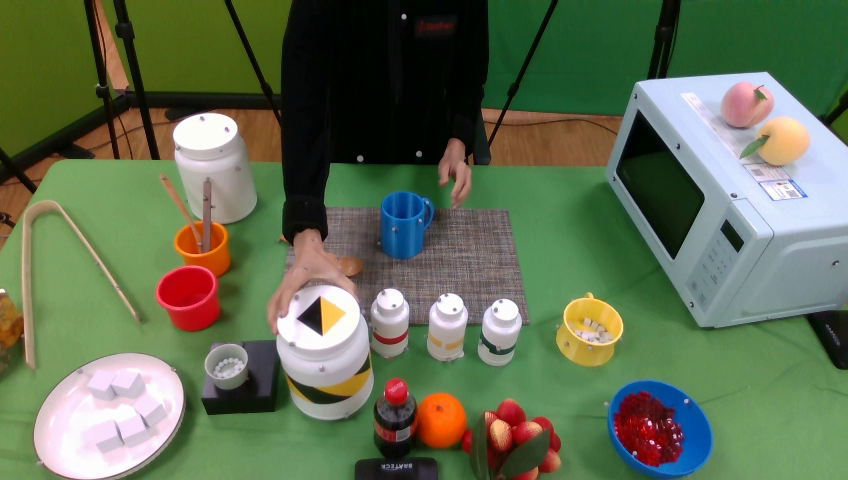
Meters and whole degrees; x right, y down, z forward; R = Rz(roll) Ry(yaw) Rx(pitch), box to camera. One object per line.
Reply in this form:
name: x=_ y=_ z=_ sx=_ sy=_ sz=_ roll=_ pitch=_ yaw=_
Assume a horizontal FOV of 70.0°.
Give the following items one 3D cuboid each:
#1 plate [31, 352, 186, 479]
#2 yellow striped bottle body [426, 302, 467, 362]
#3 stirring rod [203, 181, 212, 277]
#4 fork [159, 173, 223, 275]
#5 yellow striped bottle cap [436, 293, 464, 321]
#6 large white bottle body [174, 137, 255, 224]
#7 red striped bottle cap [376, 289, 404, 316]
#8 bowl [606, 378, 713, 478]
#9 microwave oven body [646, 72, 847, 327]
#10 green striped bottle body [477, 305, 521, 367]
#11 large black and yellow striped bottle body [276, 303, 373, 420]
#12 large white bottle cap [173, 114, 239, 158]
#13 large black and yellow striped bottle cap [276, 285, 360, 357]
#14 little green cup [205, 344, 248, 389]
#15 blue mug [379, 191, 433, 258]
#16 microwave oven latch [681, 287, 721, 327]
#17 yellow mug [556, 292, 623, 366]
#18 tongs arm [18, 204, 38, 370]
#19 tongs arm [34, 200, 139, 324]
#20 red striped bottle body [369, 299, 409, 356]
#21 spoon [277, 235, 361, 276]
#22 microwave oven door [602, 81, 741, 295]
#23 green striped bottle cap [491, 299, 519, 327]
plate: x=-0.459 y=0.262 z=0.898 sx=0.209 sy=0.038 sz=0.208 roll=2 pitch=46 yaw=-2
yellow striped bottle body: x=0.037 y=0.142 z=0.996 sx=0.063 sy=0.121 sz=0.062 roll=2 pitch=46 yaw=-2
stirring rod: x=-0.396 y=-0.021 z=1.108 sx=0.014 sy=0.006 sz=0.176 roll=-1 pitch=89 yaw=-1
fork: x=-0.427 y=-0.030 z=1.104 sx=0.028 sy=0.018 sz=0.207 roll=-31 pitch=99 yaw=-29
yellow striped bottle cap: x=0.041 y=0.106 z=0.959 sx=0.044 sy=0.019 sz=0.044 roll=-1 pitch=49 yaw=1
large white bottle body: x=-0.408 y=-0.136 z=1.183 sx=0.131 sy=0.185 sz=0.130 roll=2 pitch=46 yaw=-2
red striped bottle cap: x=-0.054 y=0.098 z=0.958 sx=0.044 sy=0.018 sz=0.044 roll=0 pitch=47 yaw=0
bowl: x=0.340 y=0.292 z=0.906 sx=0.151 sy=0.077 sz=0.150 roll=2 pitch=46 yaw=-2
microwave oven body: x=0.607 y=-0.089 z=1.164 sx=0.326 sy=0.261 sz=0.438 roll=-7 pitch=46 yaw=-10
green striped bottle body: x=0.124 y=0.151 z=0.995 sx=0.063 sy=0.120 sz=0.063 roll=2 pitch=46 yaw=-2
large black and yellow striped bottle body: x=-0.147 y=0.170 z=0.903 sx=0.131 sy=0.185 sz=0.130 roll=0 pitch=46 yaw=0
large white bottle cap: x=-0.403 y=-0.195 z=1.122 sx=0.115 sy=0.018 sz=0.114 roll=2 pitch=47 yaw=-2
large black and yellow striped bottle cap: x=-0.147 y=0.110 z=0.841 sx=0.115 sy=0.019 sz=0.114 roll=2 pitch=45 yaw=-2
little green cup: x=-0.293 y=0.191 z=0.909 sx=0.061 sy=0.039 sz=0.061 roll=1 pitch=47 yaw=-1
blue mug: x=-0.031 y=-0.035 z=1.167 sx=0.116 sy=0.106 sz=0.082 roll=-26 pitch=54 yaw=-27
microwave oven latch: x=0.494 y=0.119 z=1.087 sx=0.030 sy=0.029 sz=0.078 roll=-6 pitch=46 yaw=-9
yellow mug: x=0.285 y=0.145 z=1.051 sx=0.100 sy=0.064 sz=0.130 roll=8 pitch=45 yaw=3
tongs arm: x=-0.698 y=0.069 z=1.069 sx=0.028 sy=0.028 sz=0.385 roll=-20 pitch=51 yaw=-13
tongs arm: x=-0.622 y=0.034 z=1.105 sx=0.051 sy=0.026 sz=0.382 roll=-32 pitch=56 yaw=-26
red striped bottle body: x=-0.058 y=0.135 z=0.996 sx=0.063 sy=0.120 sz=0.062 roll=4 pitch=48 yaw=-4
spoon: x=-0.202 y=0.023 z=1.155 sx=0.193 sy=0.022 sz=0.041 roll=23 pitch=71 yaw=17
microwave oven door: x=0.456 y=-0.107 z=1.162 sx=0.039 sy=0.245 sz=0.353 roll=-7 pitch=47 yaw=-11
green striped bottle cap: x=0.128 y=0.115 z=0.958 sx=0.044 sy=0.020 sz=0.044 roll=0 pitch=46 yaw=0
